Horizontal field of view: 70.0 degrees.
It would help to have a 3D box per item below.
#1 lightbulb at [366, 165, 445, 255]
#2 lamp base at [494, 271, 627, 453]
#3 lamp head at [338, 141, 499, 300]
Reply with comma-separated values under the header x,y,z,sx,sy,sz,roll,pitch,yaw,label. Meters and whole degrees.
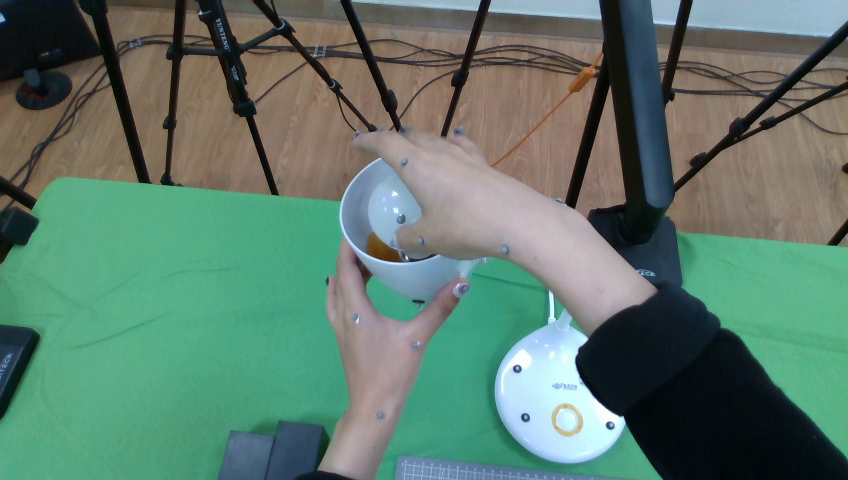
x,y,z,sx,sy,sz,roll,pitch,yaw,label
-0.009,-0.015,0.479,0.059,0.109,0.059,-6,59,10,lightbulb
0.163,0.127,0.679,0.161,0.182,0.177,-6,56,-4,lamp base
0.002,-0.004,0.504,0.112,0.124,0.111,-8,57,13,lamp head
